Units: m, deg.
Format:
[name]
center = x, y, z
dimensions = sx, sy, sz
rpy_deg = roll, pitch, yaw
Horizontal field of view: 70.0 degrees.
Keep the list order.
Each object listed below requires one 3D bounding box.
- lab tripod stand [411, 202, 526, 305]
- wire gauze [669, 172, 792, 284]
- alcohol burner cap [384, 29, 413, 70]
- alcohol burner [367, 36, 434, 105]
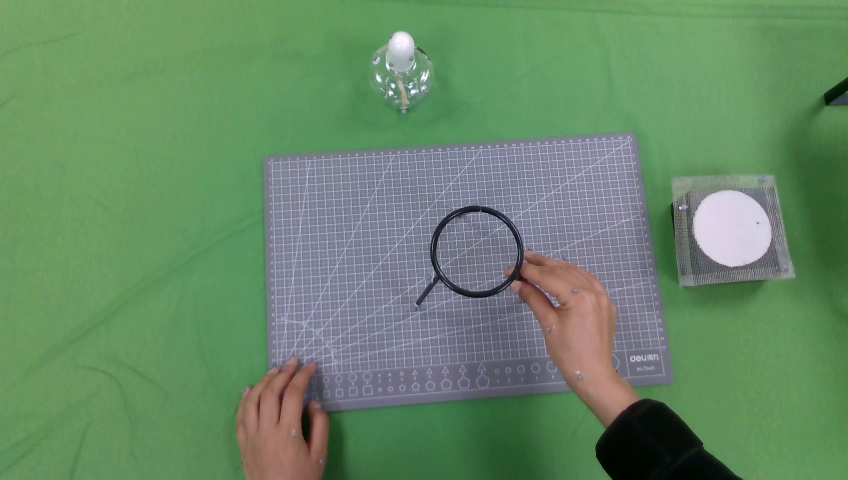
[lab tripod stand]
center = 0.051, 0.021, 0.635
dimensions = 0.148, 0.132, 0.147
rpy_deg = 1, 77, -3
[wire gauze]
center = 0.334, -0.015, 0.666
dimensions = 0.121, 0.011, 0.124
rpy_deg = -2, 78, 1
[alcohol burner cap]
center = -0.026, -0.209, 0.656
dimensions = 0.034, 0.048, 0.034
rpy_deg = 1, 83, -5
[alcohol burner]
center = -0.027, -0.202, 0.690
dimensions = 0.078, 0.119, 0.077
rpy_deg = 1, 79, -3
